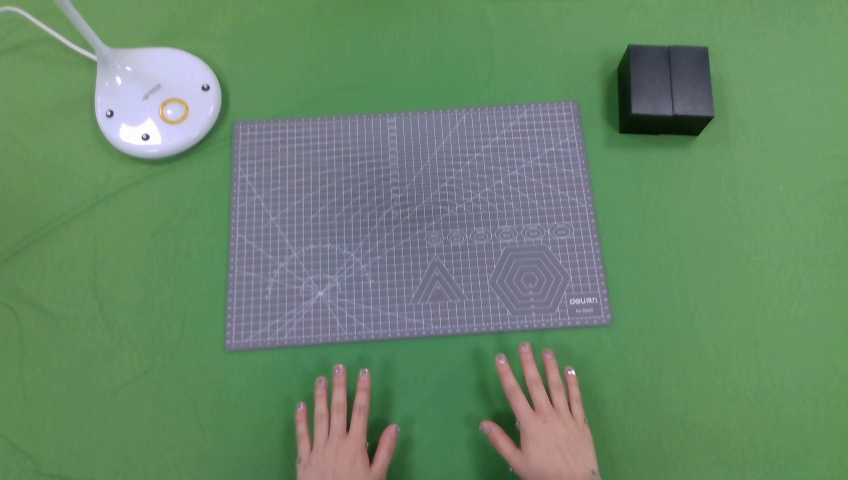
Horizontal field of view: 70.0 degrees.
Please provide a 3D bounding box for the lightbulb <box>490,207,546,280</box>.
[{"bbox_3d":[0.109,0.000,0.743,0.059,0.060,0.106,-19,54,-6],"label":"lightbulb"}]

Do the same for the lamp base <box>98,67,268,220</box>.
[{"bbox_3d":[-0.301,-0.131,0.733,0.179,0.181,0.159,13,69,9],"label":"lamp base"}]

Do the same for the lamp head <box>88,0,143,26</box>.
[{"bbox_3d":[-0.260,-0.244,0.465,0.124,0.112,0.112,25,66,-28],"label":"lamp head"}]
